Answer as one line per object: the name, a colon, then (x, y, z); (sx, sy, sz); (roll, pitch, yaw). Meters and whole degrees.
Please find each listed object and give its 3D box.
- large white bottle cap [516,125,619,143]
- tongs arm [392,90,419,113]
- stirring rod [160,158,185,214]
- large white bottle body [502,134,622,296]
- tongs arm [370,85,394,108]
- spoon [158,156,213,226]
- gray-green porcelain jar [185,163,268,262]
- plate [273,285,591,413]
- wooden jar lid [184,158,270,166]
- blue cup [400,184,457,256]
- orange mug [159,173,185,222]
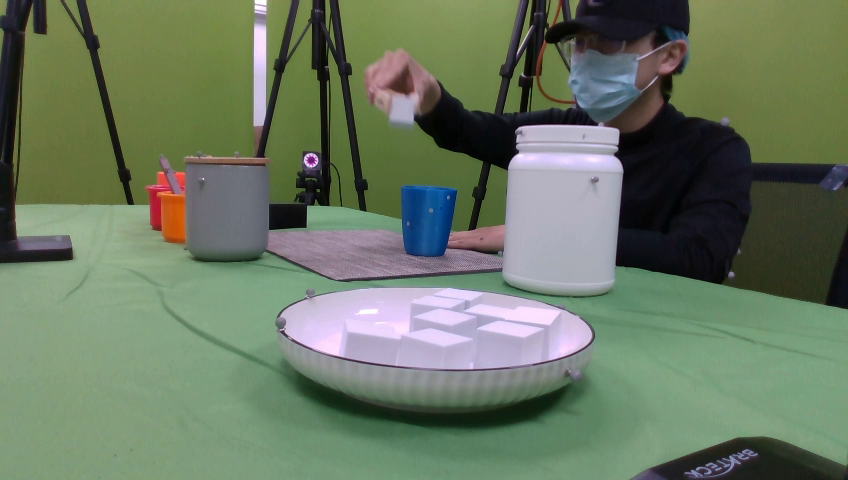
large white bottle cap: (0.164, -0.120, 0.695); (0.115, 0.018, 0.115); (2, 7, 0)
tongs arm: (-0.042, -0.219, 0.935); (0.051, 0.026, 0.384); (10, 13, -5)
stirring rod: (-0.390, -0.070, 0.972); (0.014, 0.006, 0.175); (-3, 51, -48)
large white bottle body: (0.160, -0.037, 0.706); (0.131, 0.184, 0.130); (2, 7, 0)
tongs arm: (-0.064, -0.223, 0.931); (0.028, 0.028, 0.386); (5, 14, -9)
spoon: (-0.435, -0.094, 1.121); (0.041, 0.022, 0.193); (5, 51, 13)
gray-green porcelain jar: (-0.263, -0.038, 0.808); (0.106, 0.126, 0.106); (3, 8, 0)
plate: (0.005, 0.069, 0.407); (0.208, 0.039, 0.207); (2, 7, 0)
wooden jar lid: (-0.260, -0.099, 0.801); (0.108, 0.020, 0.108); (0, 9, 0)
blue cup: (0.003, -0.030, 0.901); (0.093, 0.100, 0.092); (4, 9, 0)
orange mug: (-0.477, -0.089, 1.241); (0.127, 0.101, 0.083); (-7, 12, -33)
